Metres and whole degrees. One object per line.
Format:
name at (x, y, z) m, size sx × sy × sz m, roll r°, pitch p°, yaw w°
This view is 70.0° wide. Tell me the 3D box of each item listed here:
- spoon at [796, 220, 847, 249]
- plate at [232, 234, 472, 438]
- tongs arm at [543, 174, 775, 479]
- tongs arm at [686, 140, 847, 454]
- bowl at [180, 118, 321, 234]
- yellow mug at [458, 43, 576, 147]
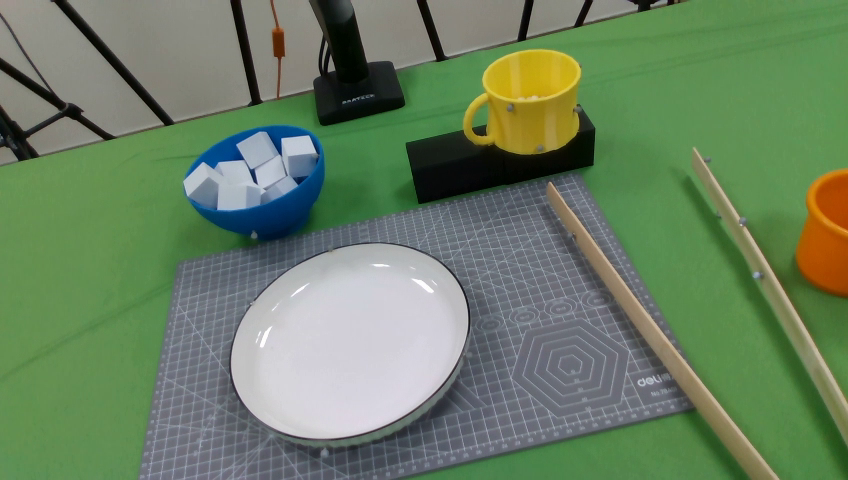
spoon at (0.364, -0.012, 0.452) m, size 0.041 × 0.193 × 0.021 m, roll -31°, pitch 91°, yaw -13°
plate at (-0.060, 0.080, 0.529) m, size 0.207 × 0.039 × 0.205 m, roll -6°, pitch 45°, yaw 7°
tongs arm at (0.188, 0.064, 0.498) m, size 0.028 × 0.028 × 0.383 m, roll -16°, pitch 46°, yaw -10°
tongs arm at (0.268, 0.045, 0.498) m, size 0.051 × 0.027 × 0.380 m, roll -8°, pitch 46°, yaw 2°
bowl at (-0.178, -0.059, 0.668) m, size 0.151 × 0.077 × 0.150 m, roll -6°, pitch 45°, yaw 7°
yellow mug at (0.095, -0.147, 0.633) m, size 0.131 × 0.064 × 0.099 m, roll -25°, pitch 46°, yaw -11°
